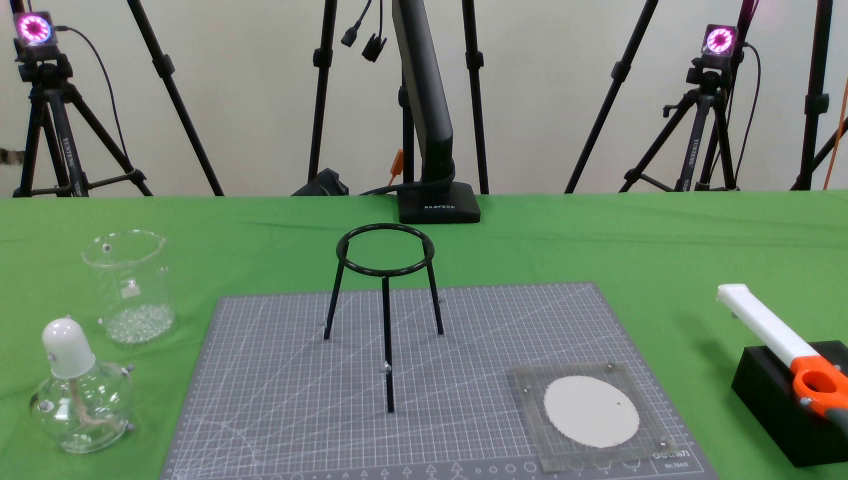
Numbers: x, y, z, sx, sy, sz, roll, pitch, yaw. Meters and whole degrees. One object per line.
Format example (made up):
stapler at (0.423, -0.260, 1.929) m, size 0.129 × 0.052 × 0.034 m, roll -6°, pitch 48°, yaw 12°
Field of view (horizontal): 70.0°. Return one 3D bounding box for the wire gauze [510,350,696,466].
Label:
wire gauze at (0.158, 0.147, 0.544) m, size 0.125 × 0.011 × 0.120 m, roll -7°, pitch 27°, yaw -28°

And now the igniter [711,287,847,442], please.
igniter at (0.336, 0.118, 0.529) m, size 0.057 × 0.025 × 0.274 m, roll -3°, pitch 26°, yaw -5°

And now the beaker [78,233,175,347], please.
beaker at (-0.299, 0.052, 0.626) m, size 0.073 × 0.101 × 0.084 m, roll 26°, pitch 37°, yaw 36°

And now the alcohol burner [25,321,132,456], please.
alcohol burner at (-0.284, 0.116, 0.495) m, size 0.078 × 0.120 × 0.077 m, roll 3°, pitch 27°, yaw -1°

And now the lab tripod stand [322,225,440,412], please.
lab tripod stand at (-0.037, 0.066, 0.578) m, size 0.148 × 0.132 × 0.147 m, roll 3°, pitch 30°, yaw -2°

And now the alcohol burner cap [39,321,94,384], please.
alcohol burner cap at (-0.285, 0.085, 0.477) m, size 0.034 × 0.048 × 0.033 m, roll 3°, pitch 33°, yaw -1°
